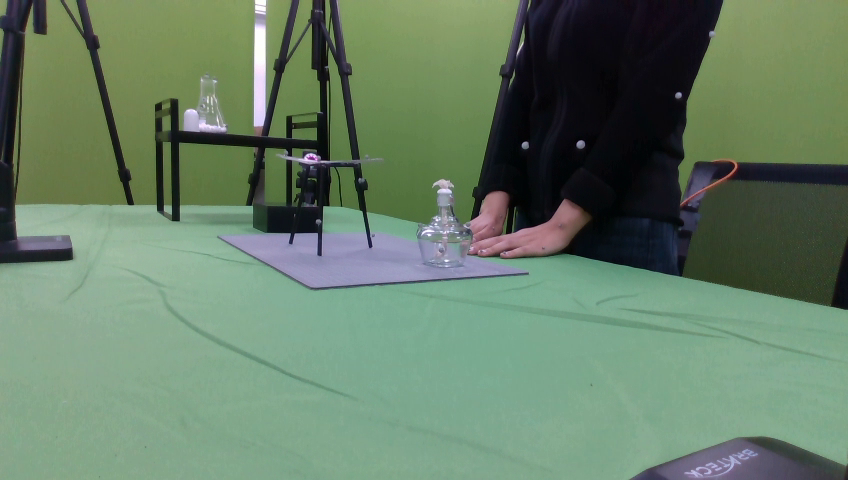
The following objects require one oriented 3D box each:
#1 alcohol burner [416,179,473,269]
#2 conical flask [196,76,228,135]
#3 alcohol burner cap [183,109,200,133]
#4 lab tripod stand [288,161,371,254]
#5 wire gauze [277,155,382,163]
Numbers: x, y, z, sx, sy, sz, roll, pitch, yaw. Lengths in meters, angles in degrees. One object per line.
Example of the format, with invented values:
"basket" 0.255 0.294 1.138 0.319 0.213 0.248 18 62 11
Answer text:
"alcohol burner" 0.027 -0.022 0.816 0.078 0.119 0.078 0 7 0
"conical flask" -0.465 -0.291 1.311 0.075 0.122 0.075 2 7 0
"alcohol burner cap" -0.472 -0.241 1.229 0.034 0.048 0.034 4 8 0
"lab tripod stand" -0.148 -0.052 0.908 0.148 0.131 0.148 1 8 0
"wire gauze" -0.142 -0.118 0.899 0.122 0.011 0.124 -3 8 -36
